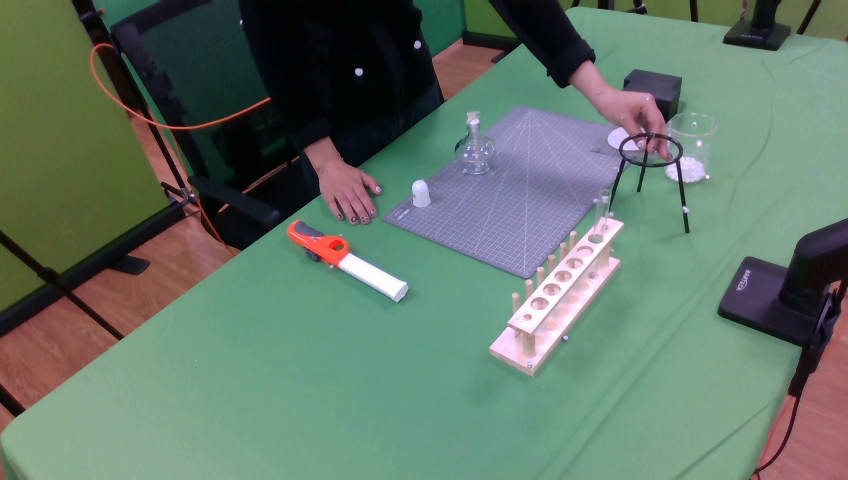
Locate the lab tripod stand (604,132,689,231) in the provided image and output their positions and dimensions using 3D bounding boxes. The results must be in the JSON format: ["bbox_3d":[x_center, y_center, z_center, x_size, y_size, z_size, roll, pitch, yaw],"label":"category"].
[{"bbox_3d":[0.347,-0.087,0.933,0.148,0.132,0.147,-4,40,4],"label":"lab tripod stand"}]

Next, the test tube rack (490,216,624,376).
[{"bbox_3d":[0.184,0.064,0.822,0.066,0.085,0.243,24,50,33],"label":"test tube rack"}]

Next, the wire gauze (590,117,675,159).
[{"bbox_3d":[0.394,-0.191,1.139,0.120,0.011,0.125,19,47,28],"label":"wire gauze"}]

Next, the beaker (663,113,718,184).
[{"bbox_3d":[0.442,-0.151,1.018,0.084,0.101,0.074,-1,40,11],"label":"beaker"}]

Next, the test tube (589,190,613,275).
[{"bbox_3d":[0.238,-0.006,0.818,0.017,0.151,0.017,-3,43,4],"label":"test tube"}]

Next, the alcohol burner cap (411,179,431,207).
[{"bbox_3d":[-0.008,-0.085,1.062,0.034,0.048,0.033,-5,39,5],"label":"alcohol burner cap"}]

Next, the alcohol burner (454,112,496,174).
[{"bbox_3d":[0.092,-0.181,1.102,0.078,0.119,0.077,-5,42,5],"label":"alcohol burner"}]

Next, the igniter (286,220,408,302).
[{"bbox_3d":[-0.133,0.028,0.968,0.274,0.025,0.057,26,61,35],"label":"igniter"}]
